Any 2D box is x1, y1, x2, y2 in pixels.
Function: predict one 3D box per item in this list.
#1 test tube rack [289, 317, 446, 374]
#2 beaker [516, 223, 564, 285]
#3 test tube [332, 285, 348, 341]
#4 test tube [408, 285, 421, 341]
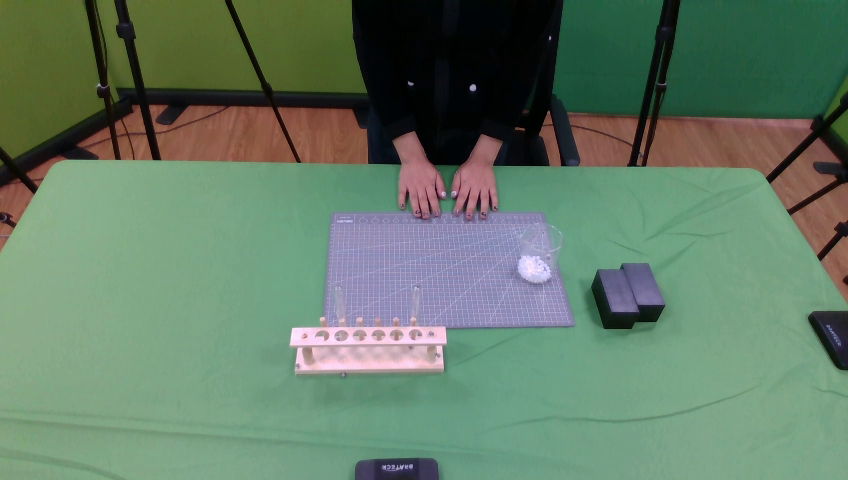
[{"bbox_3d":[-0.089,0.167,0.988,0.242,0.085,0.066,0,46,-4],"label":"test tube rack"},{"bbox_3d":[0.211,0.029,1.132,0.084,0.101,0.073,-1,46,-4],"label":"beaker"},{"bbox_3d":[-0.133,0.122,0.965,0.017,0.151,0.017,1,47,-1],"label":"test tube"},{"bbox_3d":[-0.016,0.123,0.973,0.017,0.151,0.017,2,46,-2],"label":"test tube"}]
